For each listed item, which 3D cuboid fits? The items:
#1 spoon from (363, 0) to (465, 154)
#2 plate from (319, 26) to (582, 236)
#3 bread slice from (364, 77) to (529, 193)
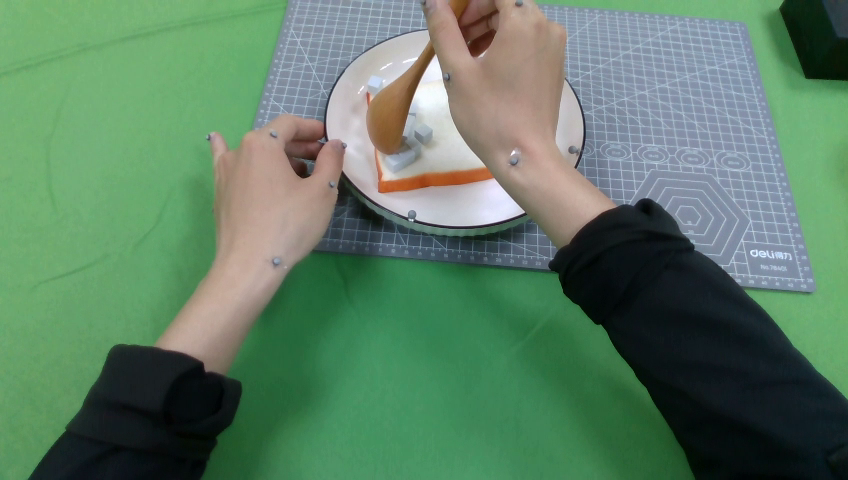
[{"bbox_3d":[0.001,-0.131,0.406,0.022,0.194,0.041,-14,61,-45],"label":"spoon"},{"bbox_3d":[0.021,-0.089,0.493,0.209,0.038,0.207,1,60,-2],"label":"plate"},{"bbox_3d":[0.019,-0.093,0.497,0.132,0.019,0.104,-8,61,-7],"label":"bread slice"}]
